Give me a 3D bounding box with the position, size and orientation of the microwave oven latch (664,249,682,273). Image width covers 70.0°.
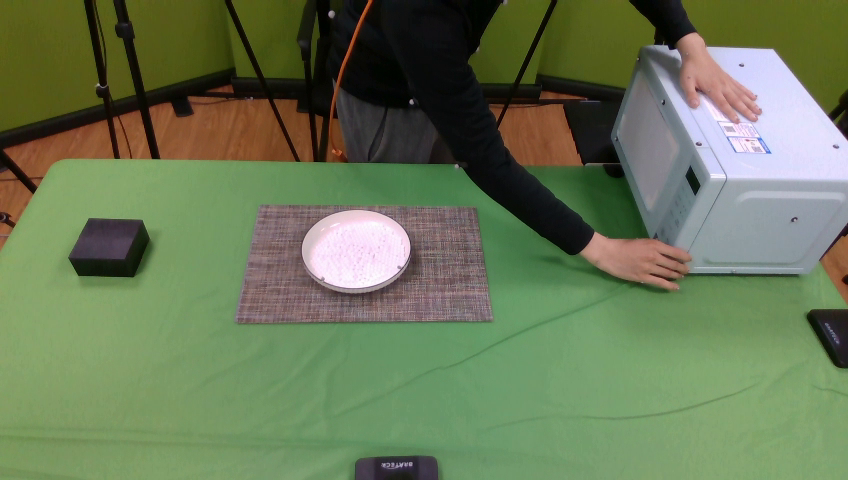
[{"bbox_3d":[0.481,0.025,1.171,0.030,0.029,0.079,15,47,12],"label":"microwave oven latch"}]

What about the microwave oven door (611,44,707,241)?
[{"bbox_3d":[0.473,-0.208,1.250,0.039,0.245,0.353,0,47,-3],"label":"microwave oven door"}]

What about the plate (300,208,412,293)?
[{"bbox_3d":[-0.128,0.022,1.149,0.209,0.038,0.208,2,47,-2],"label":"plate"}]

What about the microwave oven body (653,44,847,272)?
[{"bbox_3d":[0.620,-0.172,1.234,0.326,0.261,0.439,0,46,-3],"label":"microwave oven body"}]
